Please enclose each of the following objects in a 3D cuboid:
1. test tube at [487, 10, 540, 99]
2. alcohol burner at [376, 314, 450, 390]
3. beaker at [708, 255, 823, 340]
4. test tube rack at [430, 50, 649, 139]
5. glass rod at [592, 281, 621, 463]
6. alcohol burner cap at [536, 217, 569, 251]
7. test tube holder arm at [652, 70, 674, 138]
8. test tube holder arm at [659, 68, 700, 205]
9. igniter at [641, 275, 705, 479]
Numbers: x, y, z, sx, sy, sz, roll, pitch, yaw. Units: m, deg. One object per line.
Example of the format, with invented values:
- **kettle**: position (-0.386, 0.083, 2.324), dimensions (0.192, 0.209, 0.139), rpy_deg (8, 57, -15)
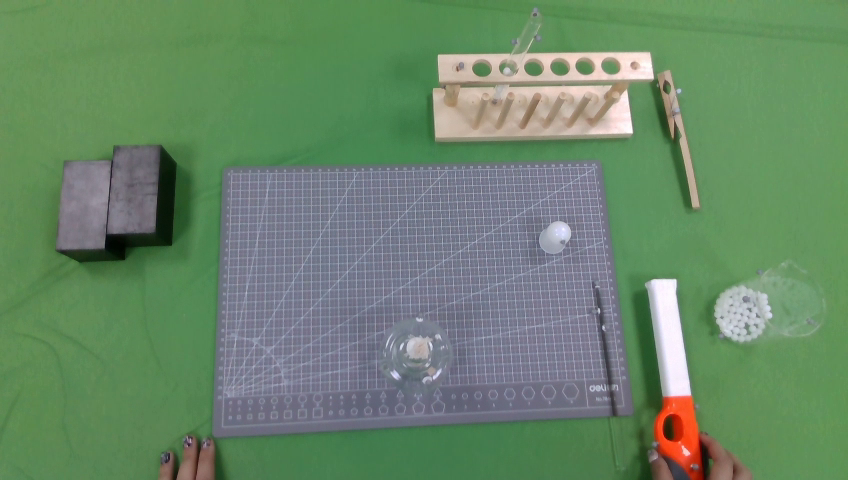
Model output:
- **test tube**: position (0.095, -0.198, 0.665), dimensions (0.017, 0.151, 0.017), rpy_deg (3, 72, -9)
- **alcohol burner**: position (-0.011, 0.110, 0.612), dimensions (0.078, 0.119, 0.077), rpy_deg (1, 73, -3)
- **beaker**: position (0.365, 0.067, 0.660), dimensions (0.074, 0.100, 0.083), rpy_deg (11, 74, -1)
- **test tube rack**: position (0.131, -0.169, 0.711), dimensions (0.243, 0.085, 0.066), rpy_deg (-2, 75, -4)
- **glass rod**: position (0.202, 0.143, 0.673), dimensions (0.008, 0.008, 0.198), rpy_deg (-2, 76, -5)
- **alcohol burner cap**: position (0.149, -0.009, 0.691), dimensions (0.034, 0.048, 0.033), rpy_deg (1, 75, -4)
- **test tube holder arm**: position (0.302, -0.171, 0.760), dimensions (0.010, 0.015, 0.087), rpy_deg (-17, 75, 28)
- **test tube holder arm**: position (0.314, -0.129, 0.747), dimensions (0.013, 0.015, 0.177), rpy_deg (-17, 75, 28)
- **igniter**: position (0.268, 0.174, 0.656), dimensions (0.057, 0.025, 0.275), rpy_deg (0, 76, -11)
